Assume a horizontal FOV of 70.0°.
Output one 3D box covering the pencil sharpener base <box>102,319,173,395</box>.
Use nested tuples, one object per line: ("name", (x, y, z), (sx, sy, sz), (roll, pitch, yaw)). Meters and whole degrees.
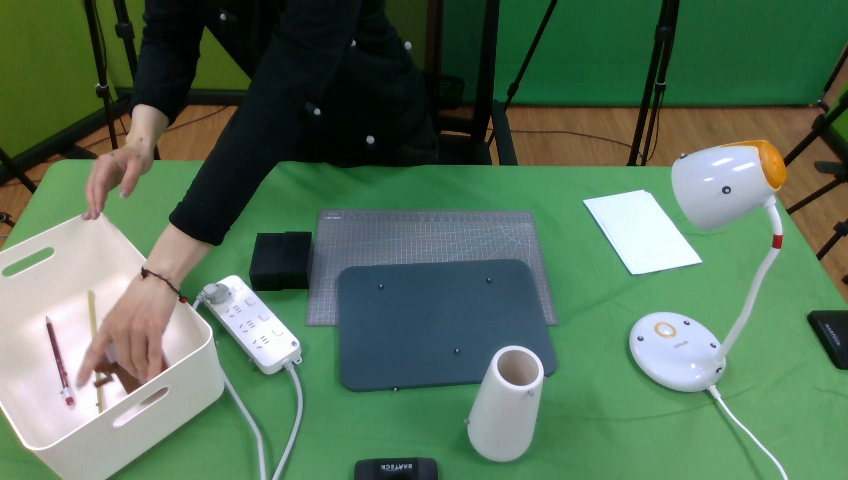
("pencil sharpener base", (-0.426, 0.183, 0.909), (0.077, 0.107, 0.061), (-26, 53, -26))

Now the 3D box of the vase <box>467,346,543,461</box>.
("vase", (0.115, 0.235, 0.860), (0.098, 0.201, 0.097), (1, 47, -1))

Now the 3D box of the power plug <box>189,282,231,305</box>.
("power plug", (-0.369, 0.097, 1.039), (0.072, 0.053, 0.035), (-25, 56, -20))

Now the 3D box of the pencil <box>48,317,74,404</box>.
("pencil", (-0.587, 0.189, 0.975), (0.012, 0.012, 0.193), (-23, 50, -24))

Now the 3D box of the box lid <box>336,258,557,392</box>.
("box lid", (0.030, 0.140, 1.073), (0.372, 0.015, 0.261), (-3, 47, -7))

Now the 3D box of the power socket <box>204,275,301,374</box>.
("power socket", (-0.296, 0.140, 1.035), (0.072, 0.033, 0.225), (-32, 57, -29))

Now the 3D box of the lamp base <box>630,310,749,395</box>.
("lamp base", (0.447, 0.143, 0.984), (0.161, 0.181, 0.178), (-24, 55, -24))

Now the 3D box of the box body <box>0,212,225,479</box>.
("box body", (-0.504, 0.154, 0.916), (0.362, 0.161, 0.254), (36, 54, 27))

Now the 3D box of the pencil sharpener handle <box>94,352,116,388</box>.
("pencil sharpener handle", (-0.468, 0.193, 0.879), (0.030, 0.068, 0.036), (-26, 61, -26))

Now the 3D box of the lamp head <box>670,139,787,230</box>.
("lamp head", (0.415, -0.078, 0.811), (0.113, 0.123, 0.112), (12, 70, -37))

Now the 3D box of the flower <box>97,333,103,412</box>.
("flower", (-0.514, 0.210, 0.960), (0.044, 0.038, 0.359), (4, 36, -31))
